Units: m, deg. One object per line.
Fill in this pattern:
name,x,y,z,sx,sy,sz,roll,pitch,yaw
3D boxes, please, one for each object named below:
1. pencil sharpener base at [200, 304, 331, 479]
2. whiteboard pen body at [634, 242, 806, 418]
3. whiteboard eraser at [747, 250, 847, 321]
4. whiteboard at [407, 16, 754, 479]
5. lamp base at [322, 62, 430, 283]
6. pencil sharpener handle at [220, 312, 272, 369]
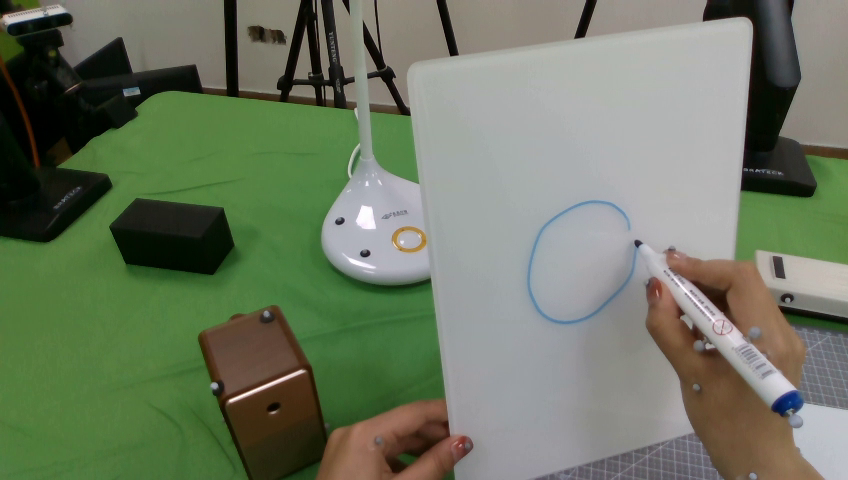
pencil sharpener base,-0.116,0.112,0.448,0.061,0.108,0.076,-21,43,-21
whiteboard pen body,0.158,0.042,0.342,0.017,0.017,0.139,-12,39,-12
whiteboard eraser,0.364,0.045,0.564,0.112,0.042,0.055,9,39,14
whiteboard,0.098,0.006,0.457,0.217,0.307,0.142,-11,21,-10
lamp base,-0.039,-0.075,0.614,0.161,0.182,0.177,-24,42,-25
pencil sharpener handle,-0.139,0.074,0.475,0.036,0.068,0.030,-27,45,-15
